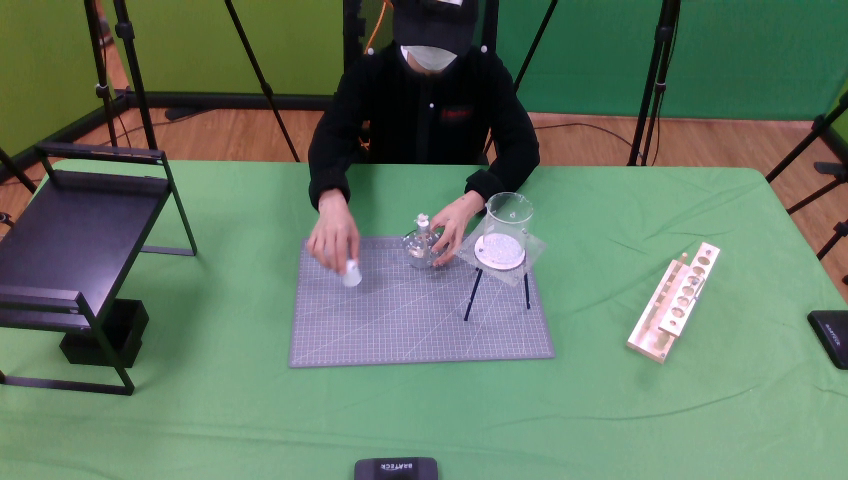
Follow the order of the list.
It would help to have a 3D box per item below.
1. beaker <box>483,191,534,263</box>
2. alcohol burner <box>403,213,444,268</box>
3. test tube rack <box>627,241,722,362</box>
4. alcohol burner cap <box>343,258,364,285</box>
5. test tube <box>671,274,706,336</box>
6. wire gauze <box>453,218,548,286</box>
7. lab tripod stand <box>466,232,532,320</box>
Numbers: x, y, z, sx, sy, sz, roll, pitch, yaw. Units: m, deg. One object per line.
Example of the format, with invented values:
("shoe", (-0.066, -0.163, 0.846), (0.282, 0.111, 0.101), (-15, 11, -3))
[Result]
("beaker", (0.135, -0.020, 0.983), (0.073, 0.101, 0.084), (28, 50, 23))
("alcohol burner", (-0.001, -0.004, 1.132), (0.078, 0.120, 0.077), (1, 47, -1))
("test tube rack", (0.452, 0.098, 1.087), (0.066, 0.085, 0.242), (28, 51, 22))
("alcohol burner cap", (-0.124, 0.051, 1.052), (0.034, 0.048, 0.033), (-6, 43, 6))
("test tube", (0.429, 0.112, 1.004), (0.017, 0.151, 0.017), (4, 43, -4))
("wire gauze", (0.129, 0.014, 1.018), (0.124, 0.011, 0.121), (26, 47, 25))
("lab tripod stand", (0.125, 0.059, 1.065), (0.148, 0.132, 0.147), (1, 45, 0))
